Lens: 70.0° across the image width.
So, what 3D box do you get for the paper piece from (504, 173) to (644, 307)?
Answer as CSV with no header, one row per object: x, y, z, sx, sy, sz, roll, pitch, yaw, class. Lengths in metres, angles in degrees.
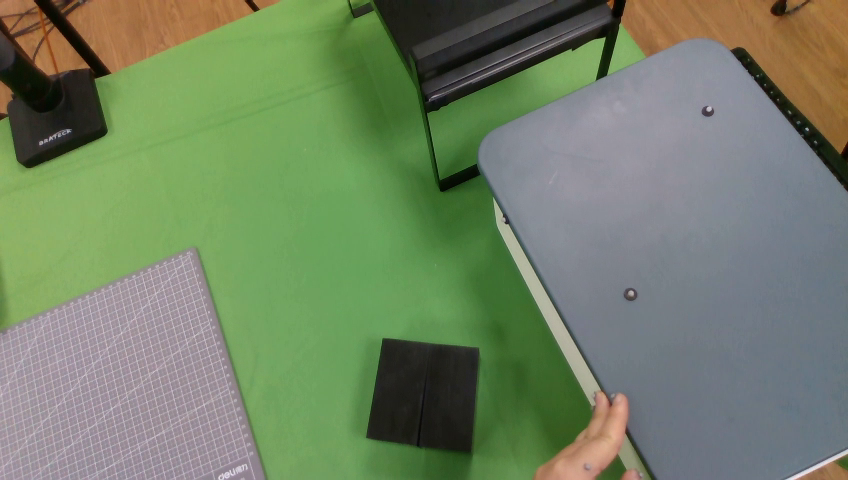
0.173,-0.003,0.696,0.136,0.009,0.137,-13,80,-6,paper piece

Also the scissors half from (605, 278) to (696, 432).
0.227,0.115,0.629,0.040,0.013,0.173,-17,61,1,scissors half

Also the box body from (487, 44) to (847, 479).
0.246,0.032,0.583,0.254,0.161,0.361,-24,68,-3,box body

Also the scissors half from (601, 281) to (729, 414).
0.246,0.106,0.631,0.040,0.013,0.173,-34,64,-14,scissors half

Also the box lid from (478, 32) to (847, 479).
0.230,-0.003,0.511,0.263,0.015,0.368,-25,67,-2,box lid
